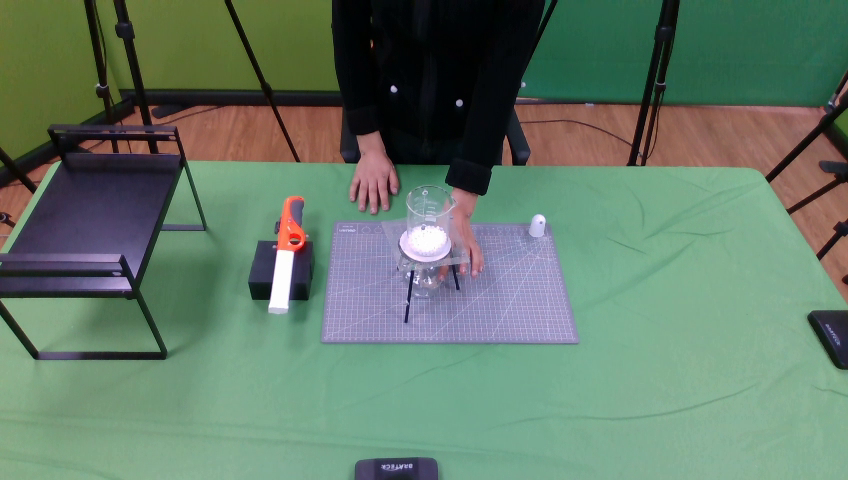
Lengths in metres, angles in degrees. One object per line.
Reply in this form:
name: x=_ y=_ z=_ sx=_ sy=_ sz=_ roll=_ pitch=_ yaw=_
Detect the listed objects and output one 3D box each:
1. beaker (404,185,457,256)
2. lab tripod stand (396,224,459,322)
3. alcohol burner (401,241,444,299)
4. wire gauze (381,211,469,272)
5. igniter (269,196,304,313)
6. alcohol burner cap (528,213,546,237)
beaker: x=0.009 y=-0.029 z=0.987 sx=0.084 sy=0.101 sz=0.073 roll=-1 pitch=48 yaw=-5
lab tripod stand: x=-0.004 y=0.053 z=1.066 sx=0.148 sy=0.132 sz=0.147 roll=3 pitch=48 yaw=-3
alcohol burner: x=-0.001 y=0.048 z=1.085 sx=0.078 sy=0.119 sz=0.077 roll=2 pitch=44 yaw=-2
wire gauze: x=0.000 y=0.001 z=1.024 sx=0.125 sy=0.011 sz=0.120 roll=-11 pitch=48 yaw=-12
igniter: x=-0.249 y=0.016 z=1.095 sx=0.057 sy=0.025 sz=0.274 roll=8 pitch=46 yaw=-13
alcohol burner cap: x=0.231 y=-0.033 z=1.230 sx=0.034 sy=0.048 sz=0.033 roll=3 pitch=48 yaw=-3
